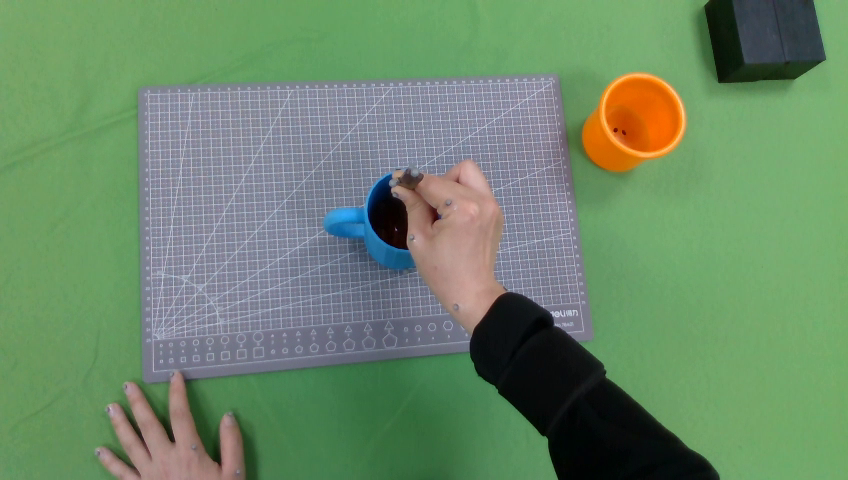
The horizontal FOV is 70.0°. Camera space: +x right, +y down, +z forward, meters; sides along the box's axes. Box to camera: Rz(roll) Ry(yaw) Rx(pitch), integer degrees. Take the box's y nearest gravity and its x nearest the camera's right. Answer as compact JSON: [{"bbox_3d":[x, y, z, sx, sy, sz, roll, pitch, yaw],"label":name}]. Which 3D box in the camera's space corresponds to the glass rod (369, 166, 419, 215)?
[{"bbox_3d":[-0.029,-0.039,0.515,0.008,0.199,0.008,1,84,-13],"label":"glass rod"}]

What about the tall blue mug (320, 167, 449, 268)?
[{"bbox_3d":[-0.036,-0.011,0.577,0.107,0.108,0.077,-28,84,-11],"label":"tall blue mug"}]
